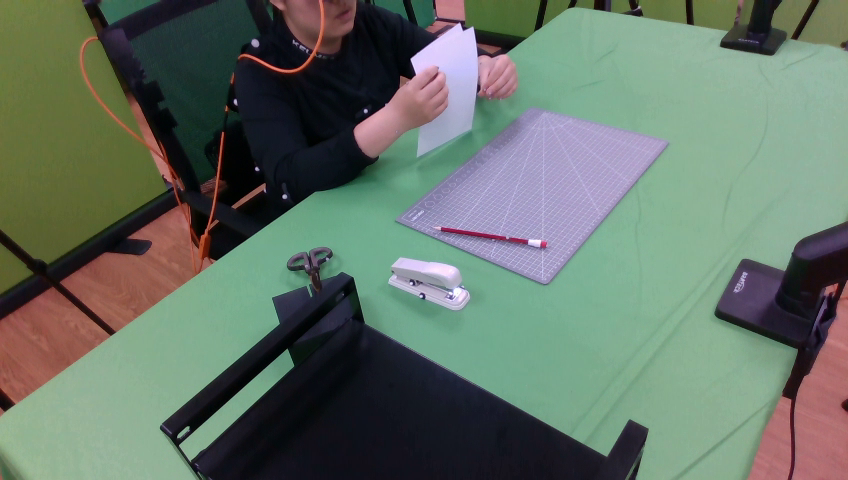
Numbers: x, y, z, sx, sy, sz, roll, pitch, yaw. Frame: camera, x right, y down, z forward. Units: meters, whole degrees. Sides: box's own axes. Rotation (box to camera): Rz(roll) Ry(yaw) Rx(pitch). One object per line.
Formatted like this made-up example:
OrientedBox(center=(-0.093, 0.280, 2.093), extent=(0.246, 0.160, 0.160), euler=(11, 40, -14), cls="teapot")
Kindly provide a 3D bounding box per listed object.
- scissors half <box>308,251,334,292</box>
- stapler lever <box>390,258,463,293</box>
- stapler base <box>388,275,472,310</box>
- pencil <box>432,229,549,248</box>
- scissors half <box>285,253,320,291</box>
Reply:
OrientedBox(center=(-0.159, 0.046, 0.913), extent=(0.040, 0.013, 0.174), euler=(-6, 18, -4), cls="scissors half")
OrientedBox(center=(0.003, 0.046, 0.881), extent=(0.117, 0.040, 0.027), euler=(17, 44, 29), cls="stapler lever")
OrientedBox(center=(0.007, 0.066, 0.897), extent=(0.129, 0.024, 0.041), euler=(17, 44, 29), cls="stapler base")
OrientedBox(center=(0.103, -0.004, 0.970), extent=(0.193, 0.012, 0.012), euler=(7, 42, 18), cls="pencil")
OrientedBox(center=(-0.178, 0.049, 0.909), extent=(0.040, 0.013, 0.174), euler=(-17, 20, -20), cls="scissors half")
